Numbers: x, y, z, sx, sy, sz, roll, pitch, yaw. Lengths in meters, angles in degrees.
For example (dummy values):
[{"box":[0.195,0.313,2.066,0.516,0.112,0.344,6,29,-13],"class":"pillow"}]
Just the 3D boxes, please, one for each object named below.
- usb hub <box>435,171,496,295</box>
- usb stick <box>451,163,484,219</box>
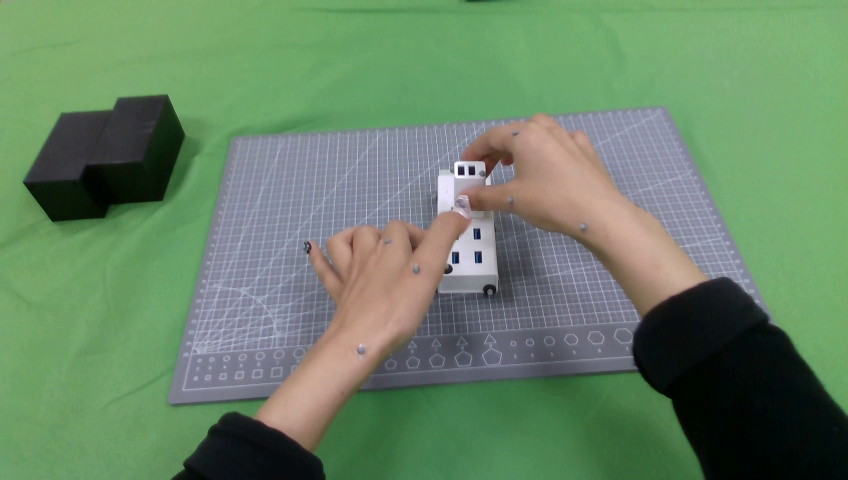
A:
[{"box":[0.034,-0.009,0.519,0.049,0.025,0.124,-1,48,3],"class":"usb hub"},{"box":[0.036,-0.035,0.501,0.027,0.060,0.021,-3,48,4],"class":"usb stick"}]
